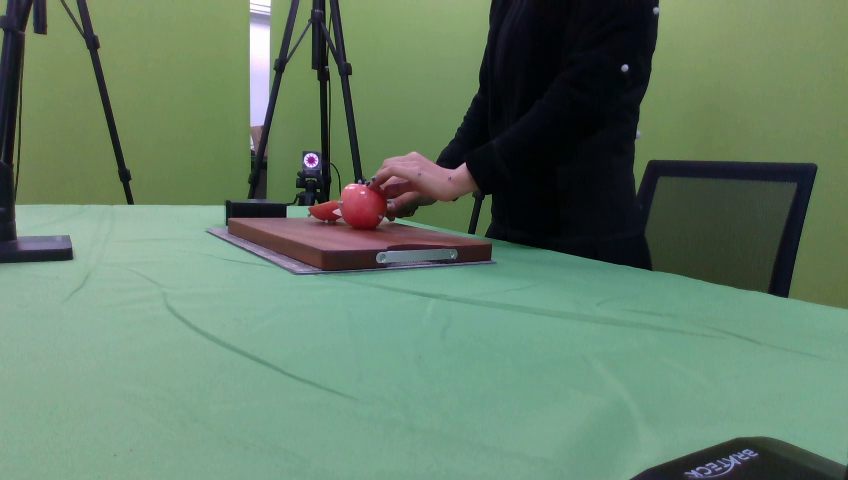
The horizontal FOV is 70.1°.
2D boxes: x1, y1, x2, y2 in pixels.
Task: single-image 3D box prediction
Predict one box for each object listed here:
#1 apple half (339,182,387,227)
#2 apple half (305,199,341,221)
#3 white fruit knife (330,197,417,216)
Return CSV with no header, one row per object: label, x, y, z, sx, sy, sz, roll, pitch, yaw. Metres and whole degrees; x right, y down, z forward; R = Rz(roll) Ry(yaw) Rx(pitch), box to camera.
apple half,-0.092,-0.056,0.987,0.081,0.074,0.053,1,14,-45
apple half,-0.161,-0.051,1.050,0.081,0.033,0.081,-12,0,0
white fruit knife,-0.082,-0.058,1.054,0.016,0.027,0.208,9,12,39
